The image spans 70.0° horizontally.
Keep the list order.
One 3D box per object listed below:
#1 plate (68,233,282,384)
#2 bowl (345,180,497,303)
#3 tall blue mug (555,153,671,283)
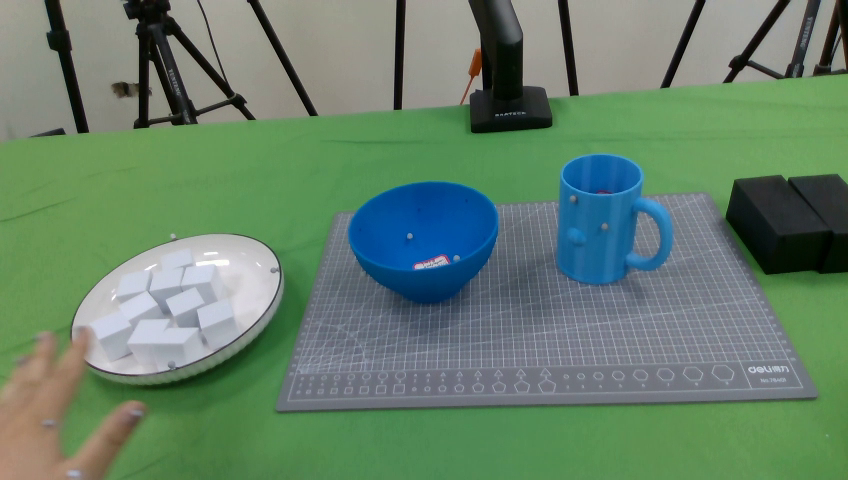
[{"bbox_3d":[-0.247,0.068,0.621,0.209,0.038,0.207,-4,38,3],"label":"plate"},{"bbox_3d":[0.001,0.011,0.617,0.151,0.077,0.150,-4,38,4],"label":"bowl"},{"bbox_3d":[0.186,-0.020,0.601,0.107,0.109,0.077,5,39,15],"label":"tall blue mug"}]
